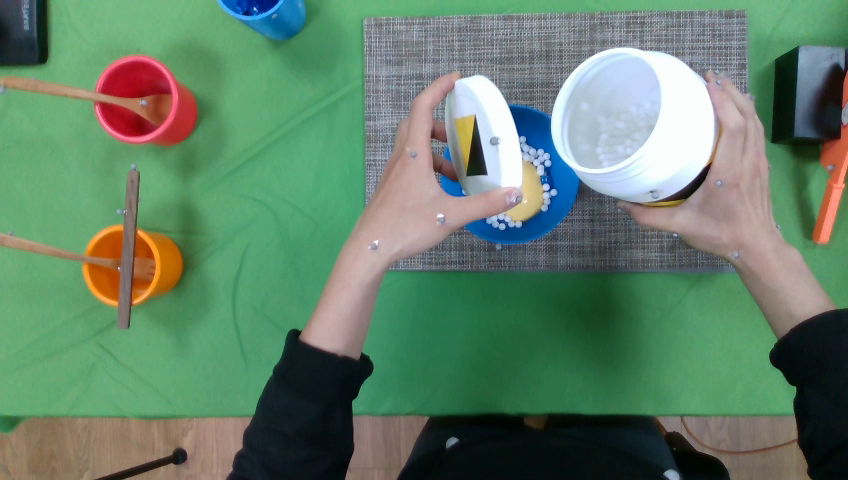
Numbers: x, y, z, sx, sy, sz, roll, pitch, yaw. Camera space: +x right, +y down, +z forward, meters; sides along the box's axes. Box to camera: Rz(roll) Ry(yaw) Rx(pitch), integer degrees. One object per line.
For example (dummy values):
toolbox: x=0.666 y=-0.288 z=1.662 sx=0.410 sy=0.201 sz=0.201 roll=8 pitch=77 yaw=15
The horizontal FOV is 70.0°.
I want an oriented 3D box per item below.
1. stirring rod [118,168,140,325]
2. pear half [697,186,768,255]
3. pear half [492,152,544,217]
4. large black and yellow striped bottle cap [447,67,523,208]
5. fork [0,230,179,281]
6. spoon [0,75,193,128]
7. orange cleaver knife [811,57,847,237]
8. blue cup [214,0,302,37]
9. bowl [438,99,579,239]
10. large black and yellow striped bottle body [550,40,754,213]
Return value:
stirring rod: x=-0.327 y=0.007 z=0.672 sx=0.014 sy=0.006 sz=0.176 roll=4 pitch=92 yaw=1
pear half: x=0.335 y=-0.018 z=0.658 sx=0.056 sy=0.110 sz=0.076 roll=-20 pitch=85 yaw=4
pear half: x=0.096 y=-0.070 z=0.677 sx=0.070 sy=0.031 sz=0.088 roll=-28 pitch=85 yaw=3
large black and yellow striped bottle cap: x=0.047 y=-0.083 z=0.500 sx=0.019 sy=0.115 sz=0.115 roll=-16 pitch=90 yaw=-15
fork: x=-0.379 y=0.016 z=0.676 sx=0.209 sy=0.018 sz=0.028 roll=18 pitch=102 yaw=-41
spoon: x=-0.359 y=-0.159 z=0.676 sx=0.195 sy=0.021 sz=0.041 roll=5 pitch=94 yaw=-41
orange cleaver knife: x=0.455 y=-0.106 z=0.667 sx=0.012 sy=0.076 sz=0.213 roll=2 pitch=119 yaw=8
blue cup: x=-0.181 y=-0.275 z=0.686 sx=0.092 sy=0.100 sz=0.092 roll=0 pitch=91 yaw=5
bowl: x=0.092 y=-0.076 z=0.684 sx=0.151 sy=0.077 sz=0.151 roll=0 pitch=91 yaw=3
large black and yellow striped bottle body: x=0.215 y=-0.103 z=0.570 sx=0.130 sy=0.185 sz=0.130 roll=-10 pitch=76 yaw=44
